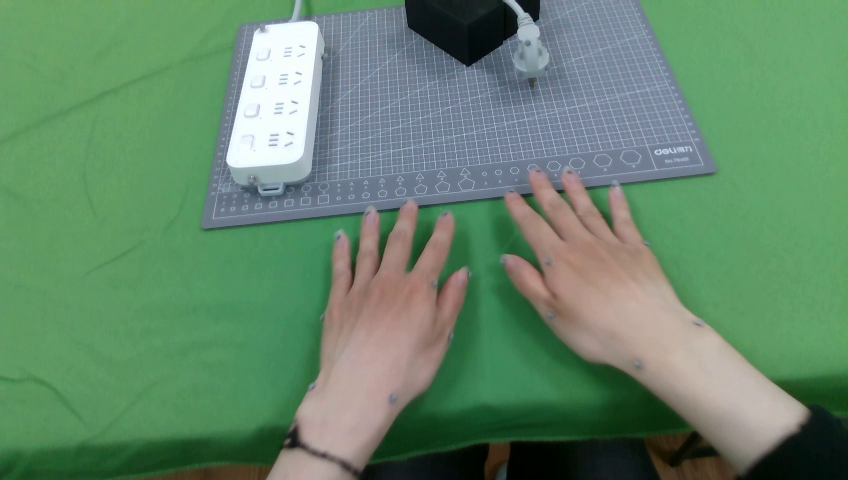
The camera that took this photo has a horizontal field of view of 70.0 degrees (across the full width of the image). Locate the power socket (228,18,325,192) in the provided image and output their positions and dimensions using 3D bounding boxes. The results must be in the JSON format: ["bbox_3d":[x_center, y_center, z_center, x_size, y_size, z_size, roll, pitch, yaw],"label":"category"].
[{"bbox_3d":[-0.141,-0.144,0.598,0.072,0.033,0.224,-3,55,3],"label":"power socket"}]

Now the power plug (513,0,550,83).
[{"bbox_3d":[0.107,-0.192,0.590,0.035,0.053,0.072,4,62,13],"label":"power plug"}]
